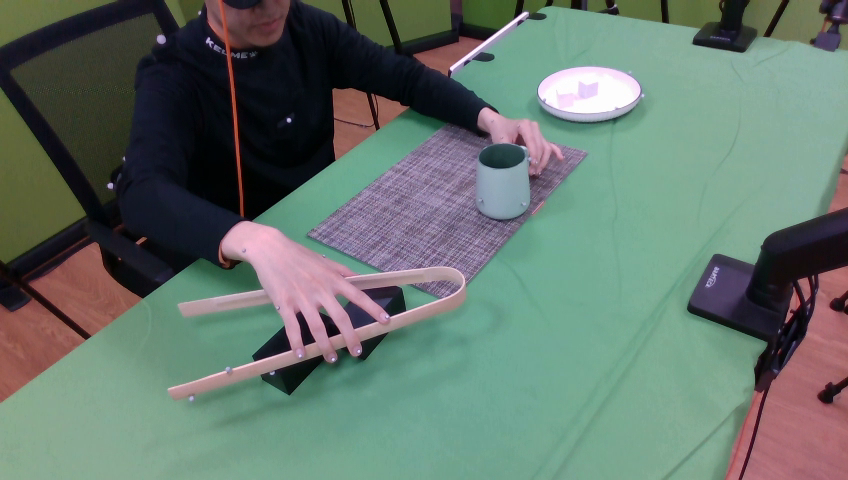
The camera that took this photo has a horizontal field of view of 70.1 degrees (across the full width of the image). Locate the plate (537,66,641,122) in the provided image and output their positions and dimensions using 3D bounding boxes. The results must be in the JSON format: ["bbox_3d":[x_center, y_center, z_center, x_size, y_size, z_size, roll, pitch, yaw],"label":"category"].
[{"bbox_3d":[0.338,-0.299,1.255,0.209,0.038,0.208,-4,41,4],"label":"plate"}]

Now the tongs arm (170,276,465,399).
[{"bbox_3d":[-0.123,0.120,0.770,0.386,0.026,0.050,-15,39,-11],"label":"tongs arm"}]

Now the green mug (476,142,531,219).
[{"bbox_3d":[0.140,-0.106,1.002,0.092,0.105,0.125,21,48,30],"label":"green mug"}]

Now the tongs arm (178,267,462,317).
[{"bbox_3d":[-0.141,0.073,0.829,0.388,0.028,0.028,-7,35,-2],"label":"tongs arm"}]
